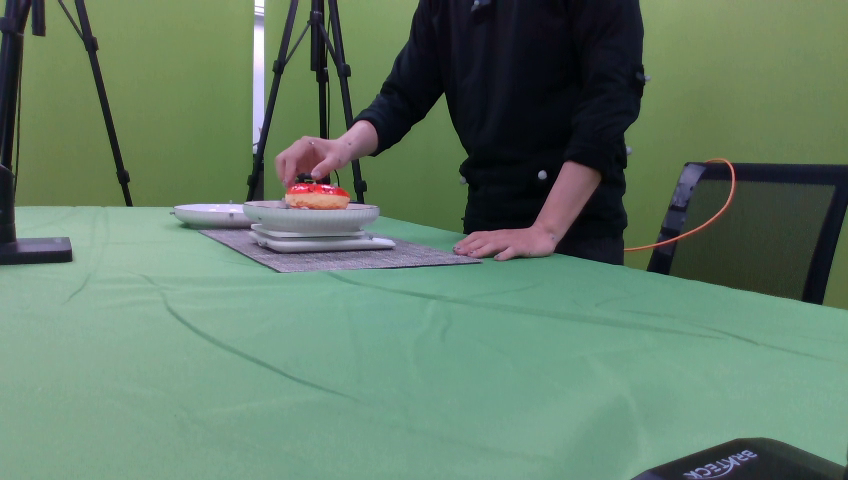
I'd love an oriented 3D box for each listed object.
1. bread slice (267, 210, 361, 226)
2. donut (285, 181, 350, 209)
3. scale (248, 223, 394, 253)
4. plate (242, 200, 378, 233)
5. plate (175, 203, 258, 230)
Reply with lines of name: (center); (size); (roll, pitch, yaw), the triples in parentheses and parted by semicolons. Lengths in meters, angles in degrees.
bread slice: (-0.174, -0.035, 0.934); (0.132, 0.019, 0.104); (-1, 6, -28)
donut: (-0.165, -0.065, 0.938); (0.099, 0.048, 0.099); (3, 4, 0)
scale: (-0.162, -0.006, 0.954); (0.202, 0.031, 0.148); (-2, 8, -32)
plate: (-0.175, -0.038, 0.939); (0.209, 0.038, 0.209); (3, 7, 0)
plate: (-0.381, -0.047, 1.199); (0.208, 0.039, 0.207); (3, 7, 0)
